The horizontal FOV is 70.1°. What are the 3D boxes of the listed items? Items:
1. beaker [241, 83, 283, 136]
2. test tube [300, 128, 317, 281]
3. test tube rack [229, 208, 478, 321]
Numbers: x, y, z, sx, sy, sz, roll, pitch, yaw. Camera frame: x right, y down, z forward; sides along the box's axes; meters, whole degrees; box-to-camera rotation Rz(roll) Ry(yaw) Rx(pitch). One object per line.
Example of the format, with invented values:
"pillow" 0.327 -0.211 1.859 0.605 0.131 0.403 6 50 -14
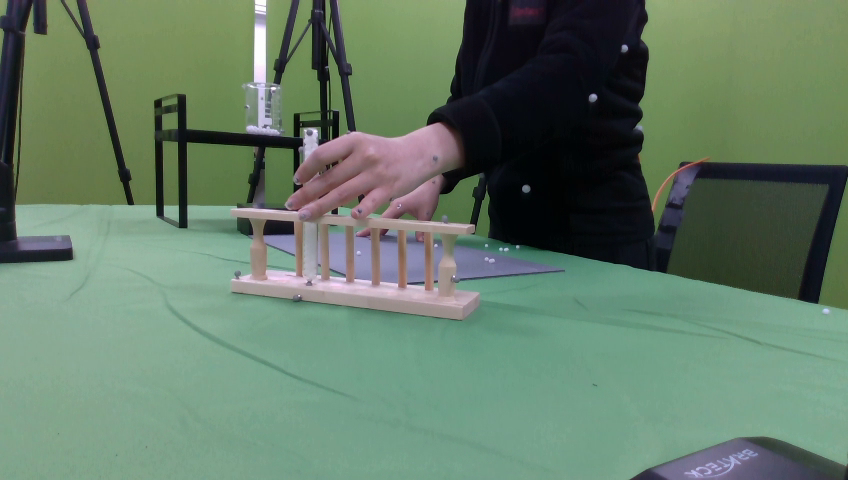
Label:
"beaker" -0.324 -0.259 1.208 0.084 0.100 0.073 -4 9 -37
"test tube" -0.113 -0.034 0.593 0.017 0.150 0.017 1 5 0
"test tube rack" -0.070 0.017 0.598 0.242 0.085 0.067 5 7 18
